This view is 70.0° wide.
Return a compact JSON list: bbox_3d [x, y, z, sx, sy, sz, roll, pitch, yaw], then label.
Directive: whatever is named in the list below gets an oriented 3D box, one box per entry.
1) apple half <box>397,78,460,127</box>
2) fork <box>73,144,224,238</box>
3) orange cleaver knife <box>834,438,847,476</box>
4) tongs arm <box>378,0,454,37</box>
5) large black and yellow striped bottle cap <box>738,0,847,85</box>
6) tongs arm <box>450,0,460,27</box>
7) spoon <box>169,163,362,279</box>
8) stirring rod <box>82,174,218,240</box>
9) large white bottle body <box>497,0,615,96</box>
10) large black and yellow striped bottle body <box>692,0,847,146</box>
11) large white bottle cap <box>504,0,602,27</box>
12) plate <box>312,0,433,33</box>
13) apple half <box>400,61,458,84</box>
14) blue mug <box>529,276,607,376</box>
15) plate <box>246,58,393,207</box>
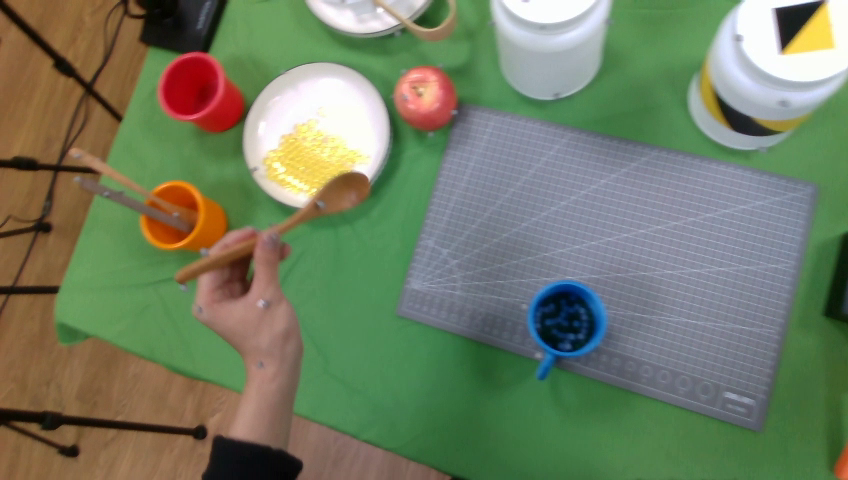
[{"bbox_3d":[0.006,-0.175,0.787,0.080,0.075,0.053,2,86,8],"label":"apple half"},{"bbox_3d":[-0.358,-0.063,0.798,0.209,0.018,0.028,35,88,-30],"label":"fork"},{"bbox_3d":[0.479,0.155,0.639,0.012,0.077,0.212,15,116,13],"label":"orange cleaver knife"},{"bbox_3d":[-0.108,-0.393,0.827,0.051,0.027,0.382,-44,74,-2],"label":"tongs arm"},{"bbox_3d":[0.364,-0.206,0.580,0.115,0.019,0.114,-1,83,10],"label":"large black and yellow striped bottle cap"},{"bbox_3d":[-0.044,-0.446,0.824,0.028,0.028,0.385,-29,75,-1],"label":"tongs arm"},{"bbox_3d":[-0.131,-0.018,0.526,0.021,0.042,0.193,31,49,28],"label":"spoon"},{"bbox_3d":[-0.356,-0.042,0.797,0.177,0.006,0.014,27,74,-27],"label":"stirring rod"},{"bbox_3d":[0.154,-0.264,0.715,0.130,0.185,0.130,-2,80,11],"label":"large white bottle body"},{"bbox_3d":[0.380,-0.191,0.661,0.130,0.185,0.130,-2,80,11],"label":"large black and yellow striped bottle body"},{"bbox_3d":[0.137,-0.278,0.632,0.114,0.018,0.114,-2,80,11],"label":"large white bottle cap"},{"bbox_3d":[-0.064,-0.385,0.850,0.207,0.039,0.207,-2,81,11],"label":"plate"},{"bbox_3d":[0.008,-0.213,0.791,0.081,0.081,0.032,1,86,11],"label":"apple half"},{"bbox_3d":[0.156,0.103,0.696,0.082,0.106,0.116,25,86,14],"label":"blue mug"},{"bbox_3d":[-0.140,-0.144,0.827,0.209,0.038,0.208,-2,81,11],"label":"plate"}]
